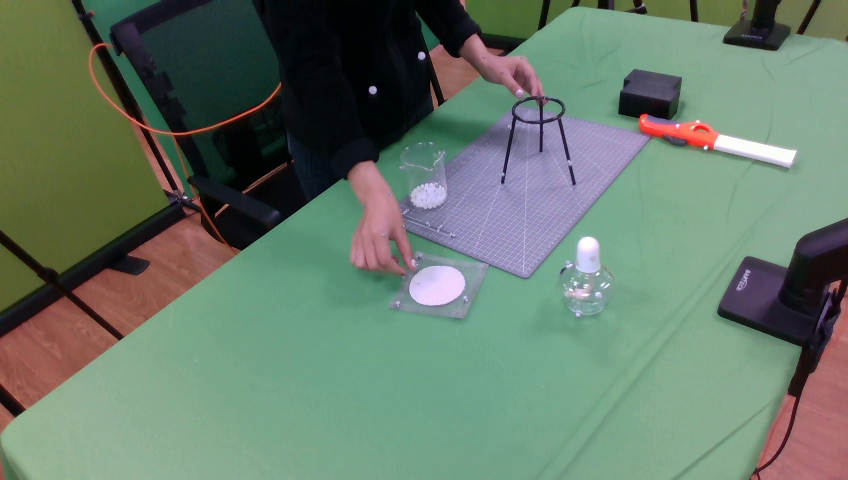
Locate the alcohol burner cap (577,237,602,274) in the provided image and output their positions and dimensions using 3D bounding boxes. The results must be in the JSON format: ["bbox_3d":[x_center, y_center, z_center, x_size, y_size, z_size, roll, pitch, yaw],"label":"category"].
[{"bbox_3d":[0.217,0.018,0.793,0.034,0.048,0.033,-7,35,6],"label":"alcohol burner cap"}]

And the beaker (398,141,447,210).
[{"bbox_3d":[0.002,-0.108,1.043,0.074,0.101,0.083,-19,42,-11],"label":"beaker"}]

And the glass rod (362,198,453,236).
[{"bbox_3d":[-0.031,-0.041,1.040,0.198,0.008,0.008,22,50,31],"label":"glass rod"}]

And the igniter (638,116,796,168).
[{"bbox_3d":[0.517,-0.181,1.093,0.274,0.025,0.057,23,65,32],"label":"igniter"}]

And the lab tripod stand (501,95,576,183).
[{"bbox_3d":[0.204,-0.174,1.057,0.148,0.132,0.147,-4,40,4],"label":"lab tripod stand"}]

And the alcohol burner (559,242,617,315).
[{"bbox_3d":[0.222,0.045,0.816,0.078,0.119,0.077,-4,42,4],"label":"alcohol burner"}]

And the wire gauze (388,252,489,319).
[{"bbox_3d":[0.023,0.067,0.909,0.121,0.011,0.125,10,43,19],"label":"wire gauze"}]
